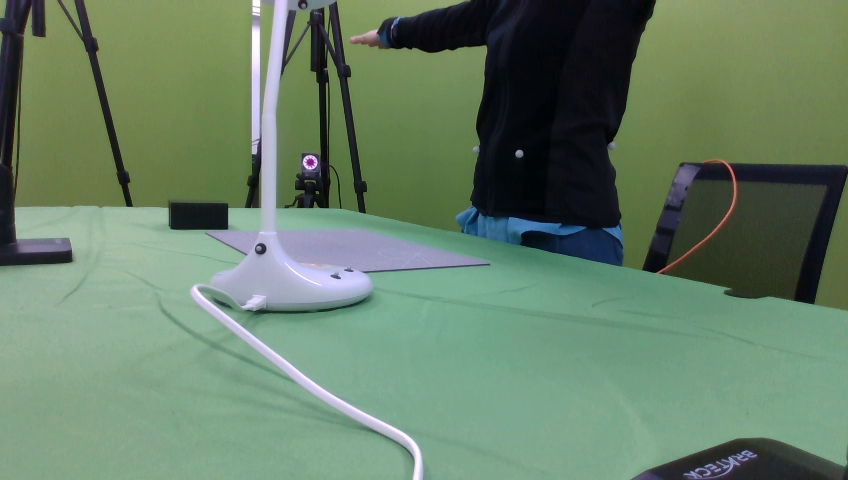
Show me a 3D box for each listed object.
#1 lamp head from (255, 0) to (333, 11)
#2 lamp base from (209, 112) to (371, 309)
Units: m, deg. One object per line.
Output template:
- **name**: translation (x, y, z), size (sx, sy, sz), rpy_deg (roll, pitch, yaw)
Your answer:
- **lamp head**: translation (-0.141, -0.318, 0.630), size (0.113, 0.112, 0.123), rpy_deg (1, -32, -9)
- **lamp base**: translation (-0.133, -0.032, 0.594), size (0.160, 0.180, 0.179), rpy_deg (2, 10, 3)
